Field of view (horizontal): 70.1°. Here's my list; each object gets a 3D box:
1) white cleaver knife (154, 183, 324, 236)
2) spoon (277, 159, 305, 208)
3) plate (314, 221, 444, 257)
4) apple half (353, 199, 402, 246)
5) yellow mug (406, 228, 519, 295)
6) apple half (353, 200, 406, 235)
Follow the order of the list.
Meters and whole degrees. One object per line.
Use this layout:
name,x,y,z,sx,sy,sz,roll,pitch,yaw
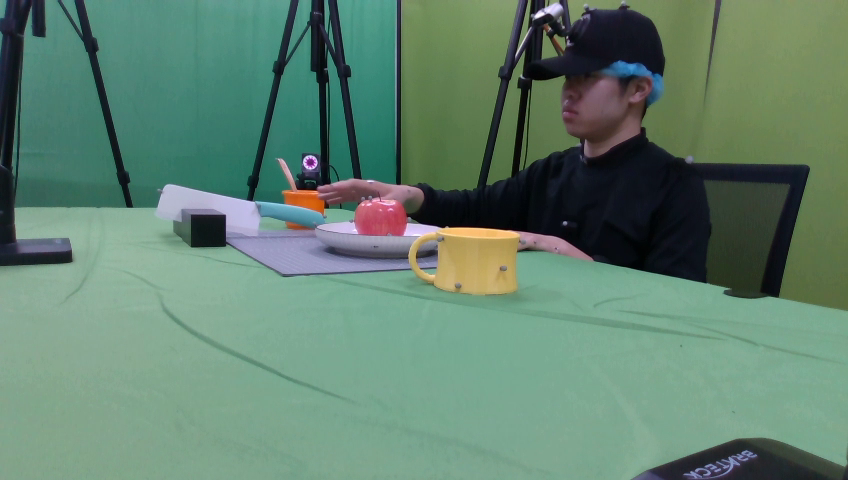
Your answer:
white cleaver knife,-0.310,-0.042,1.049,0.288,0.066,0.021,10,4,-28
spoon,-0.272,-0.103,1.260,0.042,0.193,0.021,-4,-34,-33
plate,-0.066,-0.002,0.948,0.209,0.038,0.209,3,7,0
apple half,-0.076,-0.029,0.946,0.081,0.081,0.032,0,13,-18
yellow mug,0.044,0.022,0.707,0.131,0.064,0.100,2,7,5
apple half,-0.064,-0.023,0.909,0.081,0.074,0.053,4,11,-17
